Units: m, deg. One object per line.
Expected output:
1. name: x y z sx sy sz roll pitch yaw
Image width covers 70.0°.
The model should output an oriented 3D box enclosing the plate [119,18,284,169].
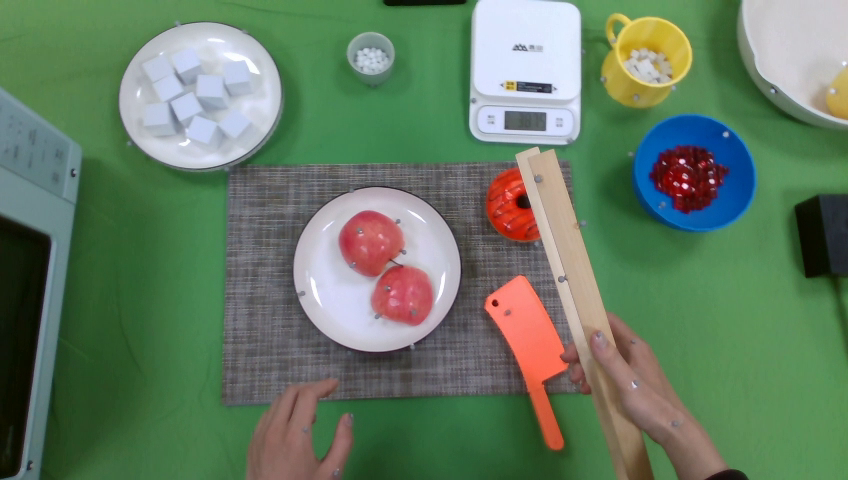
1. plate: -0.285 -0.188 0.792 0.208 0.039 0.206 1 78 -2

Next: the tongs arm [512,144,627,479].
1. tongs arm: 0.162 0.089 0.624 0.028 0.028 0.388 -20 99 -5

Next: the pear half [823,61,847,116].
1. pear half: 0.572 -0.198 0.787 0.076 0.110 0.056 34 80 9

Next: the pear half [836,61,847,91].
1. pear half: 0.594 -0.224 0.803 0.070 0.088 0.031 32 81 8

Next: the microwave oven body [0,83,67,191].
1. microwave oven body: -0.596 0.054 0.612 0.326 0.261 0.439 1 79 -2

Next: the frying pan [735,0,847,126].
1. frying pan: 0.611 -0.200 0.796 0.307 0.103 0.484 -28 73 -6

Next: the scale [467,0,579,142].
1. scale: 0.135 -0.234 0.822 0.149 0.031 0.200 3 79 -1

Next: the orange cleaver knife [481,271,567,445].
1. orange cleaver knife: 0.137 0.141 0.746 0.077 0.012 0.210 -18 78 -12

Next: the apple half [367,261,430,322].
1. apple half: -0.031 0.060 0.740 0.081 0.033 0.081 0 80 1

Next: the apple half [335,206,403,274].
1. apple half: -0.069 -0.005 0.743 0.081 0.053 0.074 -40 79 -10

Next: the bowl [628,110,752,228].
1. bowl: 0.325 -0.081 0.774 0.151 0.077 0.150 0 79 -2

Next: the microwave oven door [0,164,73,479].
1. microwave oven door: -0.451 0.098 0.603 0.039 0.244 0.354 1 78 -2

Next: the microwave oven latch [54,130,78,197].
1. microwave oven latch: -0.449 -0.094 0.747 0.030 0.029 0.079 3 79 -2

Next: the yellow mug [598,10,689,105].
1. yellow mug: 0.284 -0.253 0.814 0.100 0.064 0.130 -34 81 -8

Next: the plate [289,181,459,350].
1. plate: -0.060 0.031 0.752 0.209 0.038 0.208 1 78 -2

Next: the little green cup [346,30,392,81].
1. little green cup: -0.072 -0.245 0.813 0.061 0.039 0.061 0 78 -2

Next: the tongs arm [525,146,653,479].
1. tongs arm: 0.164 0.096 0.586 0.026 0.050 0.386 -20 99 -1

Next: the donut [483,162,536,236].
1. donut: 0.123 -0.052 0.773 0.099 0.048 0.098 0 79 0
